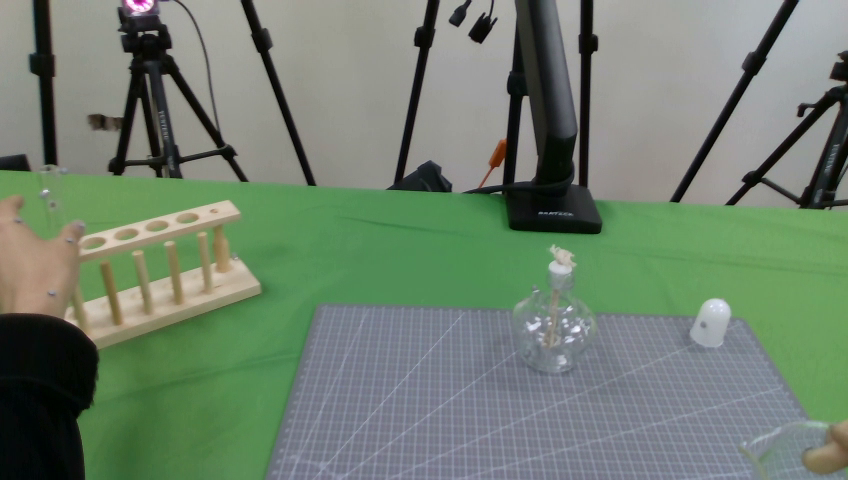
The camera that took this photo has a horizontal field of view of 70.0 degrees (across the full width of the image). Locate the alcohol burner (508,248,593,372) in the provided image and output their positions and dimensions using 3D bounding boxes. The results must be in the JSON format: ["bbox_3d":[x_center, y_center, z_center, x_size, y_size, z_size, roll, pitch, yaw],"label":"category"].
[{"bbox_3d":[0.116,0.060,0.551,0.078,0.120,0.077,1,30,0],"label":"alcohol burner"}]

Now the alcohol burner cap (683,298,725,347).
[{"bbox_3d":[0.280,0.079,0.601,0.034,0.048,0.033,2,32,-1],"label":"alcohol burner cap"}]

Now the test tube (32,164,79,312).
[{"bbox_3d":[-0.333,0.003,0.550,0.017,0.151,0.017,6,29,-3],"label":"test tube"}]

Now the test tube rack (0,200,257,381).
[{"bbox_3d":[-0.294,0.041,0.585,0.243,0.086,0.066,-19,38,-31],"label":"test tube rack"}]

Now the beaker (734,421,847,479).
[{"bbox_3d":[0.175,0.144,0.279,0.083,0.101,0.074,24,40,33],"label":"beaker"}]
